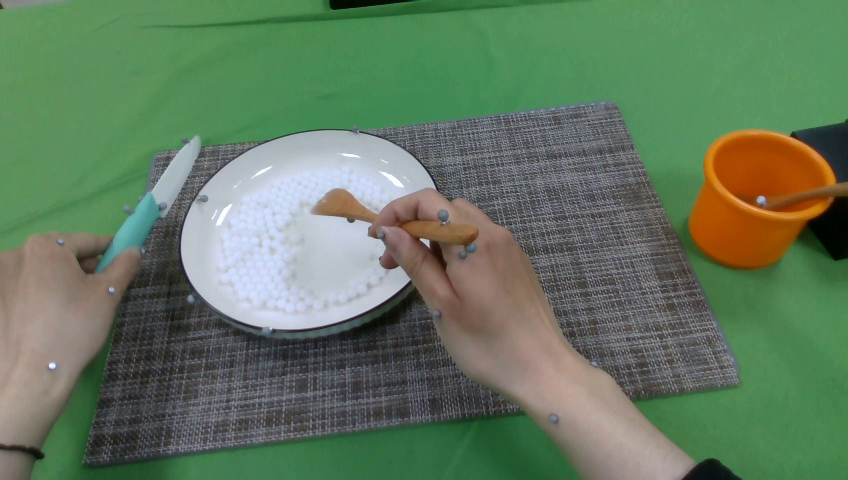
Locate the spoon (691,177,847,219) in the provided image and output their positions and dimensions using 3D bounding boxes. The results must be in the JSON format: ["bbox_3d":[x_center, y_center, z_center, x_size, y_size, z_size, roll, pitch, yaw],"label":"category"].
[{"bbox_3d":[0.277,-0.034,0.426,0.041,0.193,0.022,-36,103,-25],"label":"spoon"}]

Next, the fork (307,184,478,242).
[{"bbox_3d":[-0.031,-0.018,0.391,0.028,0.019,0.205,-48,33,-18],"label":"fork"}]

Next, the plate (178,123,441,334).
[{"bbox_3d":[-0.089,-0.013,0.493,0.209,0.038,0.207,-2,53,2],"label":"plate"}]

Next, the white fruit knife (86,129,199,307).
[{"bbox_3d":[-0.232,-0.032,0.516,0.016,0.028,0.205,-14,42,21],"label":"white fruit knife"}]
